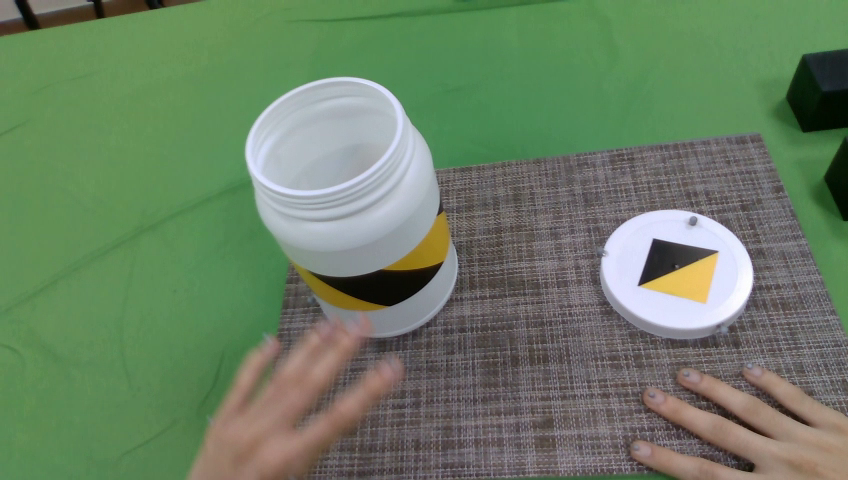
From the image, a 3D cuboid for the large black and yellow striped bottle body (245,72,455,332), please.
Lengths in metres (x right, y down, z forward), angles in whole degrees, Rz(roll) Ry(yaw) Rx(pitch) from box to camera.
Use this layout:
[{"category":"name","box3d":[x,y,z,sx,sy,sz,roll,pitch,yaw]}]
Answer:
[{"category":"large black and yellow striped bottle body","box3d":[-0.051,-0.024,0.471,0.130,0.186,0.129,-5,55,8]}]

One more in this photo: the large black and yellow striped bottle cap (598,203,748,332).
[{"category":"large black and yellow striped bottle cap","box3d":[0.201,0.019,0.494,0.115,0.019,0.114,-5,57,8]}]
